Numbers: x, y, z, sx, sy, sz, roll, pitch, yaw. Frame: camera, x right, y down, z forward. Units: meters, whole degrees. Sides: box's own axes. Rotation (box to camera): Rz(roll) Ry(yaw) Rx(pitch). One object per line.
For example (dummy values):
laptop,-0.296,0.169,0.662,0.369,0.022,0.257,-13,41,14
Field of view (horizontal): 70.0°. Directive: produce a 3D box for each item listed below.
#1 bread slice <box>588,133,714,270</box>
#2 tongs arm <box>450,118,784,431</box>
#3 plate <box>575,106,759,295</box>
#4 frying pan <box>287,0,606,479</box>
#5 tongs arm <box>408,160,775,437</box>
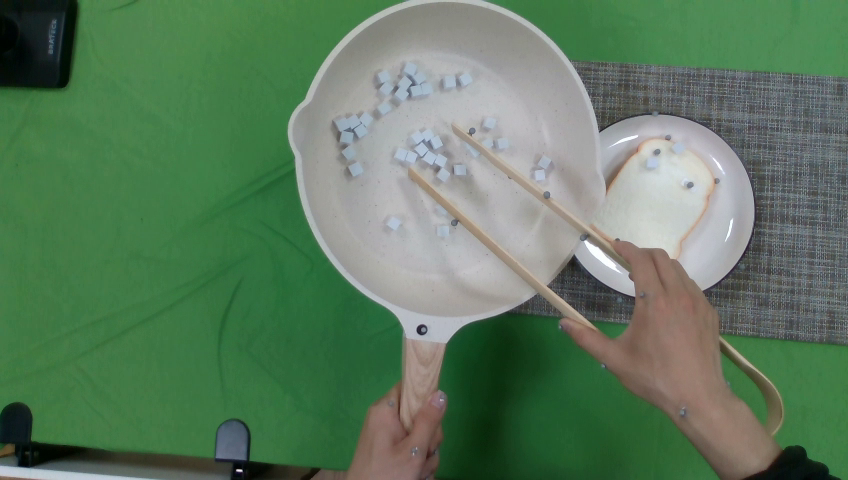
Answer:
bread slice,0.254,-0.050,0.674,0.107,0.018,0.134,28,90,6
tongs arm,0.157,0.021,0.544,0.383,0.026,0.050,39,80,12
plate,0.256,-0.042,0.671,0.207,0.039,0.207,0,85,5
frying pan,0.009,0.028,0.565,0.308,0.102,0.486,10,84,-16
tongs arm,0.132,0.047,0.540,0.385,0.028,0.028,40,77,12
